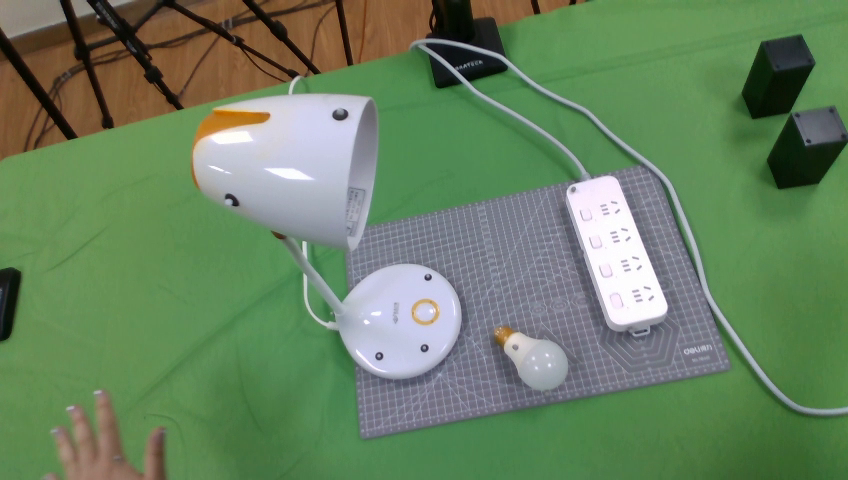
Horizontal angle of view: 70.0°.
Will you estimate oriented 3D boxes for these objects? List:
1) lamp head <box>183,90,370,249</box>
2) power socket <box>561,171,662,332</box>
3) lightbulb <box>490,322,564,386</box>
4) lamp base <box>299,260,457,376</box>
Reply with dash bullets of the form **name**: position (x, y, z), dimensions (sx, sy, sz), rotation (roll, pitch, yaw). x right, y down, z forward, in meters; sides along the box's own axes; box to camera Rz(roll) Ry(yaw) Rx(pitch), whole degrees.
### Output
- **lamp head**: position (-0.104, -0.053, 0.436), dimensions (0.123, 0.113, 0.111), rotation (5, 65, 7)
- **power socket**: position (0.237, 0.007, 0.780), dimensions (0.072, 0.033, 0.224), rotation (-14, 62, 4)
- **lightbulb**: position (0.121, 0.133, 0.734), dimensions (0.059, 0.060, 0.106), rotation (-47, 49, -12)
- **lamp base**: position (-0.063, 0.070, 0.729), dimensions (0.179, 0.182, 0.159), rotation (-16, 62, 7)
